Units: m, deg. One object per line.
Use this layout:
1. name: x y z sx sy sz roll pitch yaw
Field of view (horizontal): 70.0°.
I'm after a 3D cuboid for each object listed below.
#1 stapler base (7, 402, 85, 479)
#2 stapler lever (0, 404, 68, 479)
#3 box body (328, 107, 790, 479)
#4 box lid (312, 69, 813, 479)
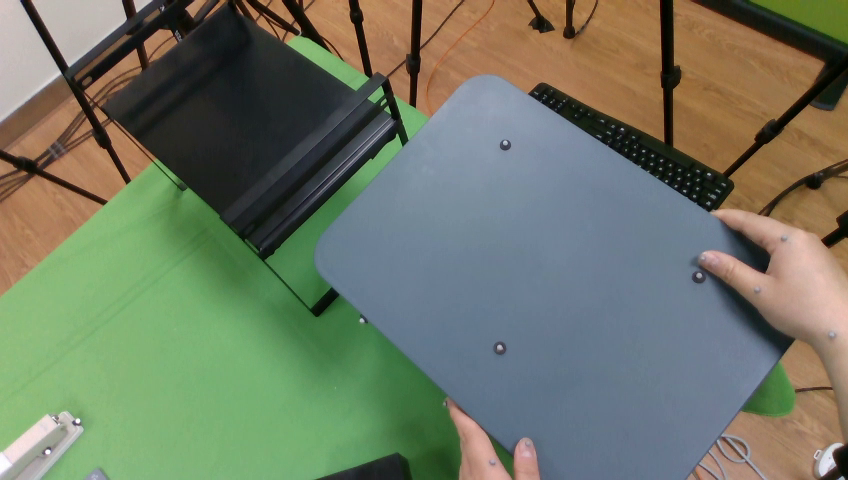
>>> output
1. stapler base: -0.470 0.255 0.723 0.041 0.024 0.130 33 72 20
2. stapler lever: -0.473 0.243 0.702 0.026 0.040 0.118 33 73 20
3. box body: 0.122 0.069 0.629 0.361 0.162 0.254 38 76 24
4. box lid: 0.100 0.023 0.526 0.369 0.015 0.263 40 82 20
